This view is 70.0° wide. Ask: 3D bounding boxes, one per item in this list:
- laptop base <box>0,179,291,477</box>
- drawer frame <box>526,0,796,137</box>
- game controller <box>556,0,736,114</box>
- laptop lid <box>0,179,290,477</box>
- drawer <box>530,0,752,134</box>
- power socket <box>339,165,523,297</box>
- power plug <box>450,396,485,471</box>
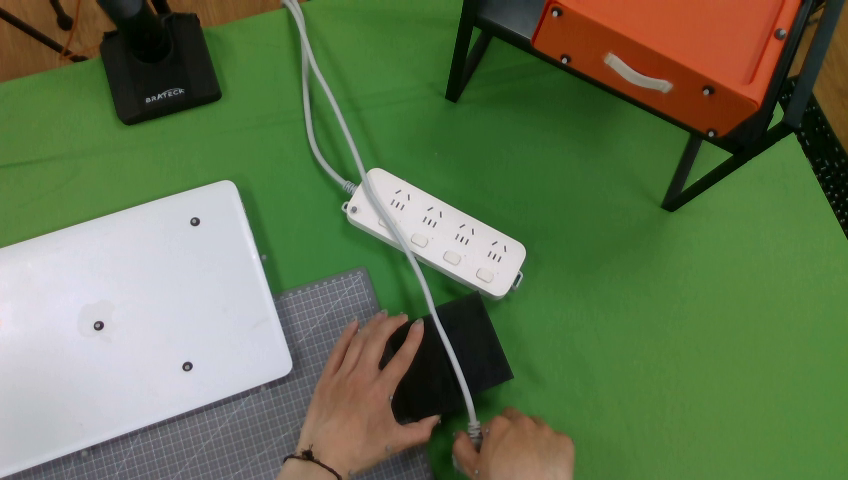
[{"bbox_3d":[-0.347,0.090,0.656,0.355,0.023,0.234,-19,82,-9],"label":"laptop base"},{"bbox_3d":[0.231,-0.237,0.562,0.201,0.083,0.213,26,76,2],"label":"drawer frame"},{"bbox_3d":[0.212,-0.194,0.565,0.155,0.052,0.097,30,80,6],"label":"game controller"},{"bbox_3d":[-0.345,0.090,0.644,0.357,0.013,0.240,-17,80,-8],"label":"laptop lid"},{"bbox_3d":[0.232,-0.234,0.562,0.194,0.073,0.211,27,76,3],"label":"drawer"},{"bbox_3d":[0.011,-0.010,0.701,0.226,0.033,0.072,28,76,3],"label":"power socket"},{"bbox_3d":[0.050,0.207,0.641,0.035,0.053,0.072,21,65,-12],"label":"power plug"}]
